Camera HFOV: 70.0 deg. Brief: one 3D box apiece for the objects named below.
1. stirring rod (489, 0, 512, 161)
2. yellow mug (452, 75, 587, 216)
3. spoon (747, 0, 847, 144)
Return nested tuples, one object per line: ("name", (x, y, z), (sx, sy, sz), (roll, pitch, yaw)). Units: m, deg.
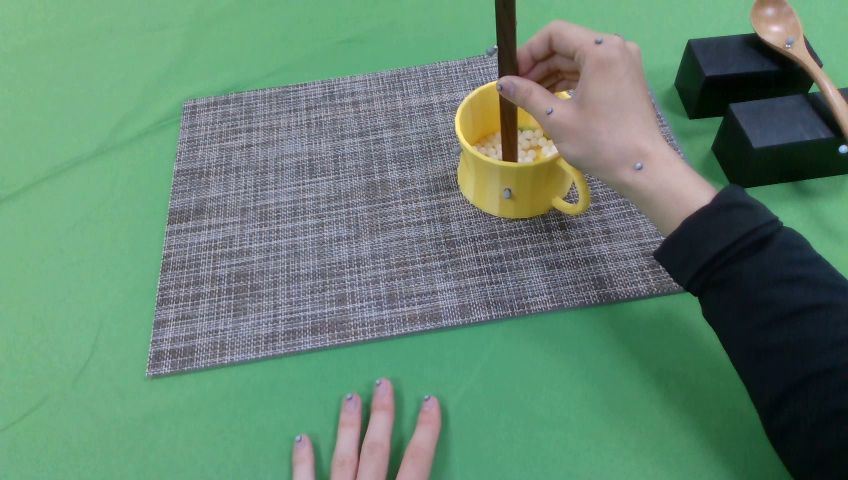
("stirring rod", (0.058, -0.110, 0.449), (0.014, 0.178, 0.006), (13, 58, 17))
("yellow mug", (0.083, -0.069, 0.493), (0.100, 0.064, 0.129), (-35, 60, -18))
("spoon", (0.313, -0.133, 0.489), (0.041, 0.022, 0.192), (-9, 57, -2))
